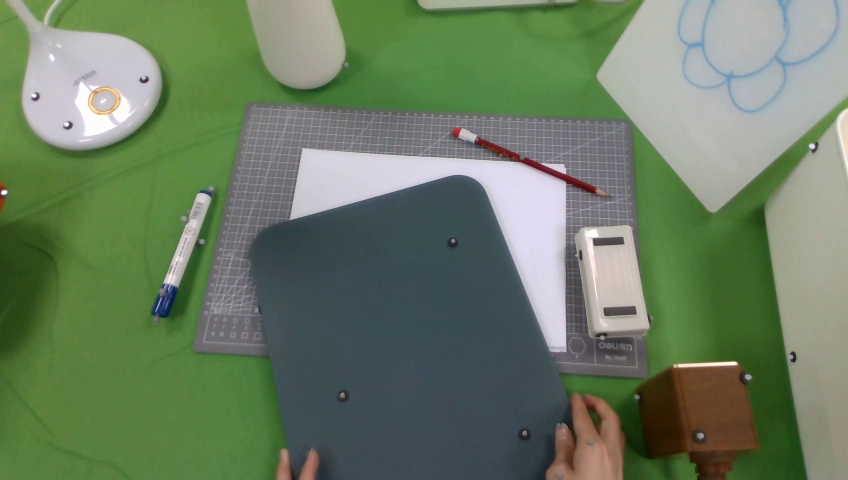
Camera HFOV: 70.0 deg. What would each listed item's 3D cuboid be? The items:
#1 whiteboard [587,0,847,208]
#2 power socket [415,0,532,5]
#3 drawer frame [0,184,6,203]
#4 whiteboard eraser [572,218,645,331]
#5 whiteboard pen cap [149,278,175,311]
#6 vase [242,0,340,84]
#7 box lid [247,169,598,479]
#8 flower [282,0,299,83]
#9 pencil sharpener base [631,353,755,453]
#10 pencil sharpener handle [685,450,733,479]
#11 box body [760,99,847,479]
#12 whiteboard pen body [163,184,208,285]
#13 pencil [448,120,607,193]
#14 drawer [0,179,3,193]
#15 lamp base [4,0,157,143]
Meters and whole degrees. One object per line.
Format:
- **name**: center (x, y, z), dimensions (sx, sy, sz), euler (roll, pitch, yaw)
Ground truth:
- **whiteboard**: center (0.346, -0.217, 0.602), dimensions (0.144, 0.307, 0.215), euler (-20, 67, -28)
- **power socket**: center (0.088, -0.339, 0.768), dimensions (0.227, 0.033, 0.071), euler (-2, 68, -1)
- **drawer frame**: center (-0.549, 0.007, 0.565), dimensions (0.213, 0.083, 0.200), euler (6, 69, 1)
- **whiteboard eraser**: center (0.183, 0.035, 0.607), dimensions (0.055, 0.042, 0.112), euler (-2, 68, -2)
- **whiteboard pen cap**: center (-0.265, 0.054, 0.614), dimensions (0.018, 0.018, 0.033), euler (8, 62, 5)
- **vase**: center (-0.151, -0.260, 0.650), dimensions (0.098, 0.201, 0.097), euler (-1, 67, 2)
- **box lid**: center (-0.015, 0.107, 0.592), dimensions (0.263, 0.015, 0.368), euler (-16, 67, -7)
- **flower**: center (-0.145, -0.308, 0.581), dimensions (0.038, 0.365, 0.043), euler (-9, 49, -10)
- **pencil sharpener base**: center (0.230, 0.148, 0.529), dimensions (0.061, 0.108, 0.076), euler (-2, 68, 0)
- **pencil sharpener handle**: center (0.234, 0.190, 0.498), dimensions (0.036, 0.068, 0.030), euler (-6, 67, 10)
- **box body**: center (0.466, 0.076, 0.524), dimensions (0.254, 0.161, 0.361), euler (2, 68, 2)
- **whiteboard pen body**: center (-0.254, 0.002, 0.639), dimensions (0.017, 0.017, 0.140), euler (7, 64, 4)
- **pencil**: center (0.114, -0.094, 0.679), dimensions (0.193, 0.012, 0.012), euler (25, 70, 9)
- **drawer**: center (-0.543, 0.005, 0.563), dimensions (0.212, 0.074, 0.193), euler (6, 69, 3)
- **lamp base**: center (-0.409, -0.221, 0.647), dimensions (0.178, 0.181, 0.160), euler (34, 72, 17)
